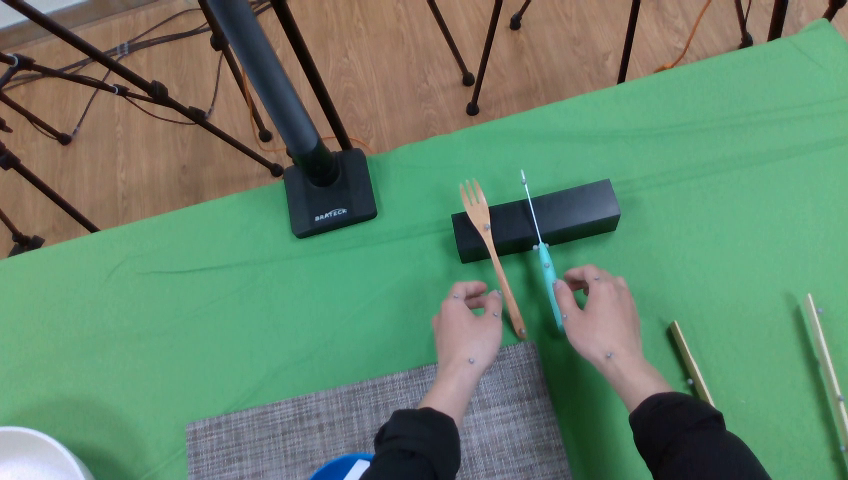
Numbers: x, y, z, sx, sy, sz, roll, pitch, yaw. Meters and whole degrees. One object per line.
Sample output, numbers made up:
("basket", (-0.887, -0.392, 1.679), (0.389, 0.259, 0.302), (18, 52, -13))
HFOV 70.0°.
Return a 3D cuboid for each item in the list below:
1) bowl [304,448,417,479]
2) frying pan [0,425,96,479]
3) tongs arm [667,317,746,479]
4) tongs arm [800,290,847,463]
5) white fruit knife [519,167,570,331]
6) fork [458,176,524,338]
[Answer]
("bowl", (-0.062, 0.306, 0.653), (0.151, 0.077, 0.150), (-3, 68, 8))
("frying pan", (-0.481, 0.454, 0.656), (0.307, 0.104, 0.483), (-16, 58, 4))
("tongs arm", (0.347, 0.259, 0.636), (0.028, 0.028, 0.384), (-19, 67, 0))
("tongs arm", (0.426, 0.241, 0.625), (0.051, 0.027, 0.382), (-8, 69, 8))
("white fruit knife", (0.142, 0.010, 0.734), (0.016, 0.027, 0.206), (-16, 84, 9))
("fork", (0.083, 0.022, 0.739), (0.028, 0.018, 0.207), (-19, 87, -18))
